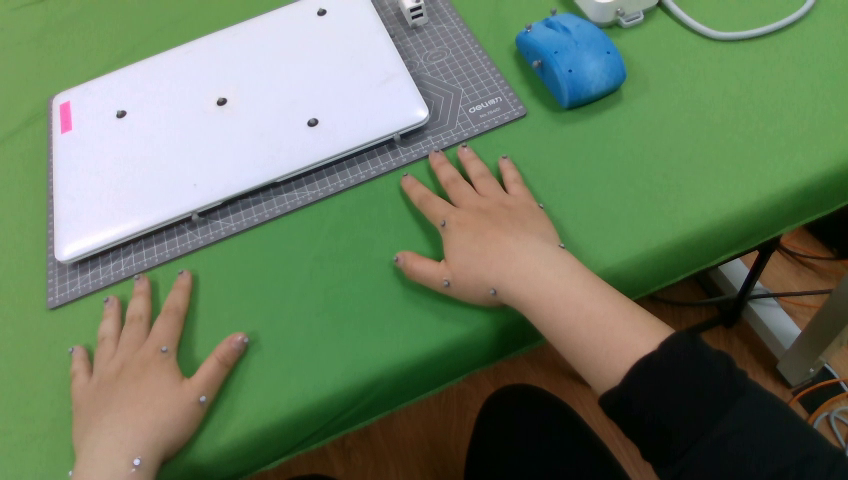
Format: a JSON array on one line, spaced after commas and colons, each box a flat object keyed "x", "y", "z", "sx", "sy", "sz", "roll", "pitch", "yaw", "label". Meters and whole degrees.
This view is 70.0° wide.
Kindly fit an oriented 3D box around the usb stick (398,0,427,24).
[{"x": -0.016, "y": -0.258, "z": 0.643, "sx": 0.021, "sy": 0.027, "sz": 0.058, "roll": -22, "pitch": 53, "yaw": 0, "label": "usb stick"}]

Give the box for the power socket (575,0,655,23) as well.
[{"x": 0.165, "y": -0.305, "z": 0.634, "sx": 0.072, "sy": 0.033, "sz": 0.224, "roll": -21, "pitch": 55, "yaw": -1, "label": "power socket"}]

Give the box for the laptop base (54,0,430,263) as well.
[{"x": -0.192, "y": -0.129, "z": 0.604, "sx": 0.354, "sy": 0.023, "sz": 0.233, "roll": -23, "pitch": 59, "yaw": -3, "label": "laptop base"}]

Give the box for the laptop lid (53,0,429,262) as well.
[{"x": -0.194, "y": -0.133, "z": 0.593, "sx": 0.357, "sy": 0.013, "sz": 0.239, "roll": -21, "pitch": 57, "yaw": -2, "label": "laptop lid"}]

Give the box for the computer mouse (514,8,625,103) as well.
[{"x": 0.130, "y": -0.177, "z": 0.555, "sx": 0.063, "sy": 0.041, "sz": 0.116, "roll": -24, "pitch": 51, "yaw": -1, "label": "computer mouse"}]
